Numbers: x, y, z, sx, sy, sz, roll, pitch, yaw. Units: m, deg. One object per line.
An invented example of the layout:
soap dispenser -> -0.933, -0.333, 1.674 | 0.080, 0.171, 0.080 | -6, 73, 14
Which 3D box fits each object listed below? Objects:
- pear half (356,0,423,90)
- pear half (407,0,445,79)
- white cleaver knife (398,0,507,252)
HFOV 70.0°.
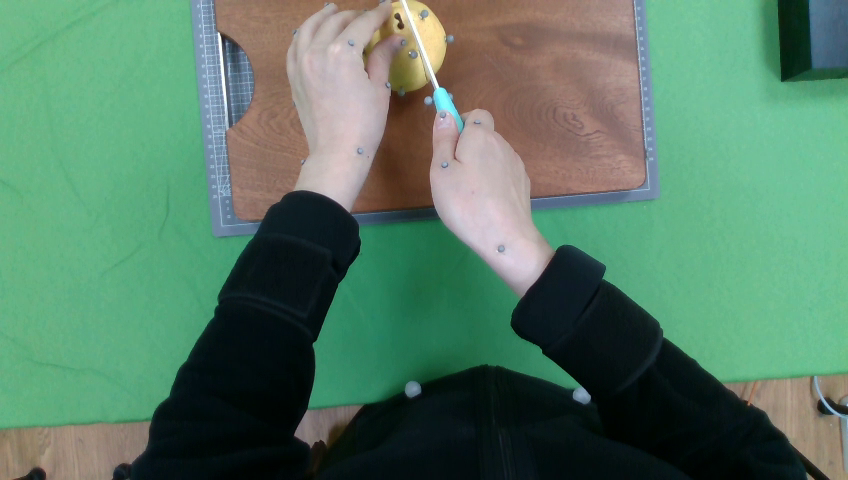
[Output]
pear half -> -0.032, -0.171, 0.528 | 0.056, 0.110, 0.076 | -23, 85, -2
pear half -> 0.001, -0.184, 0.537 | 0.031, 0.088, 0.070 | -24, 85, -1
white cleaver knife -> 0.008, -0.126, 0.475 | 0.021, 0.066, 0.286 | -20, 92, 5
